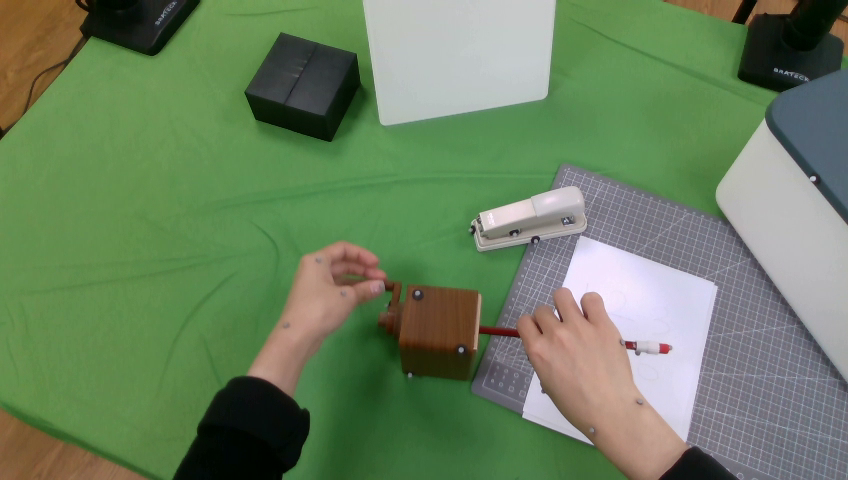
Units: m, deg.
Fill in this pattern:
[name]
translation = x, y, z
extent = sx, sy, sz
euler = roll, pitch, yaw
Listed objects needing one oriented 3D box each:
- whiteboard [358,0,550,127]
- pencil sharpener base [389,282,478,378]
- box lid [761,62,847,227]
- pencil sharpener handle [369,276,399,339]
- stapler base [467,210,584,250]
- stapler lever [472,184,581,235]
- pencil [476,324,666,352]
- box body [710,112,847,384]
[whiteboard]
translation = 0.024, -0.315, 0.700
extent = 0.217, 0.308, 0.142
euler = -10, 45, -5
[pencil sharpener base]
translation = 0.009, 0.089, 0.581
extent = 0.076, 0.108, 0.061
euler = 6, 65, 3
[box lid]
translation = 0.501, -0.029, 0.531
extent = 0.263, 0.015, 0.368
euler = -22, 67, -12
[pencil sharpener handle]
translation = -0.041, 0.061, 0.568
extent = 0.030, 0.036, 0.067
euler = 6, 45, 3
[stapler base]
translation = 0.115, -0.022, 0.680
extent = 0.130, 0.024, 0.041
euler = -12, 61, -3
[stapler lever]
translation = 0.113, -0.033, 0.658
extent = 0.118, 0.040, 0.026
euler = -11, 60, -3
[pencil]
translation = 0.119, 0.087, 0.549
extent = 0.194, 0.012, 0.012
euler = 5, 64, 4
[box body]
translation = 0.501, 0.006, 0.596
extent = 0.254, 0.161, 0.361
euler = -22, 66, -12
